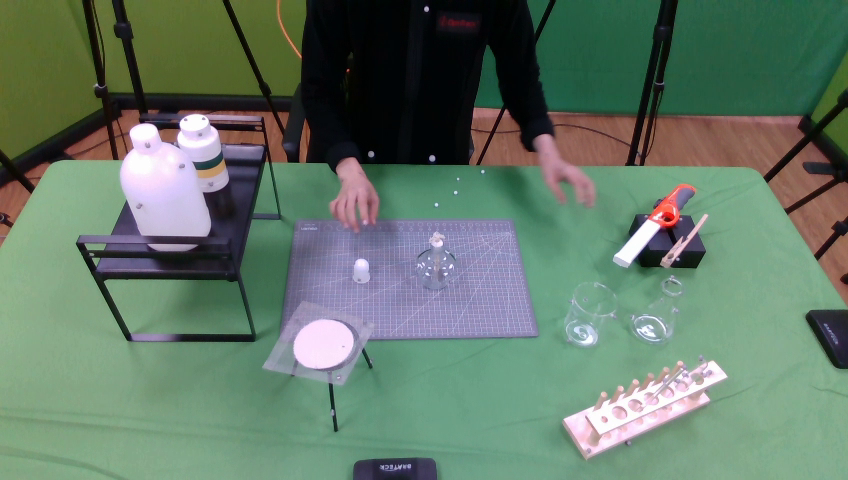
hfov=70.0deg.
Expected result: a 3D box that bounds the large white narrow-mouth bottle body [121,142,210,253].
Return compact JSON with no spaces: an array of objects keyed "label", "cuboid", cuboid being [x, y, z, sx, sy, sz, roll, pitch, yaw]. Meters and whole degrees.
[{"label":"large white narrow-mouth bottle body","cuboid":[-0.378,-0.077,0.875,0.102,0.195,0.101,3,46,-3]}]

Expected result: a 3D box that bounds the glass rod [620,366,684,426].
[{"label":"glass rod","cuboid":[0.322,0.227,0.866,0.008,0.200,0.008,5,51,-7]}]

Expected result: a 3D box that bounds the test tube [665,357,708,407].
[{"label":"test tube","cuboid":[0.387,0.216,0.905,0.017,0.151,0.017,1,53,-1]}]

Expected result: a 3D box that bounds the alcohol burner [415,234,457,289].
[{"label":"alcohol burner","cuboid":[0.022,0.033,1.099,0.078,0.120,0.077,1,47,-1]}]

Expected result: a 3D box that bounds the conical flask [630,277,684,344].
[{"label":"conical flask","cuboid":[0.408,0.117,1.045,0.075,0.122,0.075,2,46,-2]}]

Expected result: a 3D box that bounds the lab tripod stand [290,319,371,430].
[{"label":"lab tripod stand","cuboid":[-0.146,0.193,0.923,0.148,0.132,0.147,1,47,-1]}]

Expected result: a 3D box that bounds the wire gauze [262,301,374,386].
[{"label":"wire gauze","cuboid":[-0.150,0.148,0.873,0.121,0.011,0.124,14,46,12]}]

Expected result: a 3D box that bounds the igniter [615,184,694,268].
[{"label":"igniter","cuboid":[0.459,-0.035,1.197,0.057,0.025,0.276,32,55,27]}]

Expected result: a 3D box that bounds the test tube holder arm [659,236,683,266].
[{"label":"test tube holder arm","cuboid":[0.472,0.020,1.149,0.010,0.015,0.088,35,54,27]}]

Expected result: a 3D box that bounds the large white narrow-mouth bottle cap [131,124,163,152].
[{"label":"large white narrow-mouth bottle cap","cuboid":[-0.371,-0.138,0.812,0.038,0.024,0.037,3,46,-3]}]

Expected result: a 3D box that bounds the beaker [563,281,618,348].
[{"label":"beaker","cuboid":[0.283,0.129,1.041,0.074,0.101,0.083,11,46,7]}]

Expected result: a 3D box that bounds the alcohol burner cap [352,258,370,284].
[{"label":"alcohol burner cap","cuboid":[-0.117,0.055,1.118,0.034,0.048,0.033,2,46,-1]}]

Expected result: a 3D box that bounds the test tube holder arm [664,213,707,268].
[{"label":"test tube holder arm","cuboid":[0.507,-0.001,1.171,0.013,0.015,0.178,34,54,26]}]

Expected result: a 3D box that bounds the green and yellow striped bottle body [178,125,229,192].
[{"label":"green and yellow striped bottle body","cuboid":[-0.361,-0.142,0.989,0.063,0.120,0.063,2,46,-2]}]

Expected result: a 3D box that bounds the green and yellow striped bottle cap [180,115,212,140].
[{"label":"green and yellow striped bottle cap","cuboid":[-0.358,-0.177,0.951,0.045,0.020,0.045,1,44,-1]}]

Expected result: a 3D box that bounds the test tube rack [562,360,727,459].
[{"label":"test tube rack","cuboid":[0.341,0.247,0.940,0.243,0.085,0.066,-16,49,-19]}]
